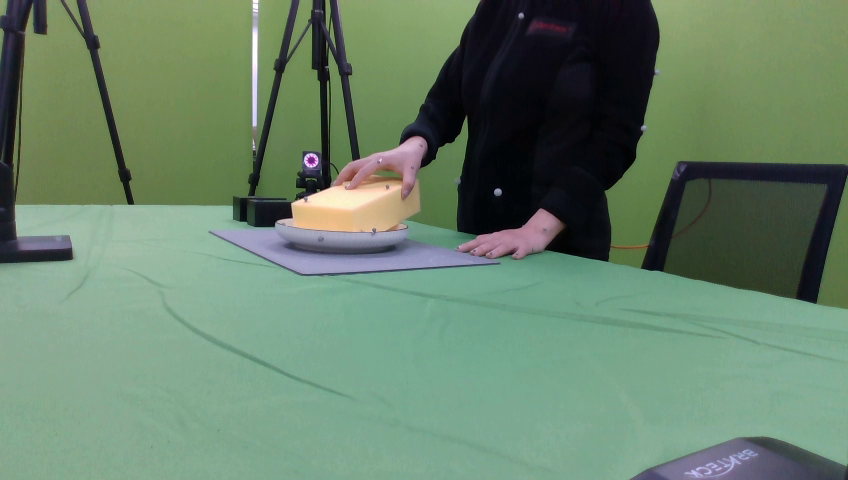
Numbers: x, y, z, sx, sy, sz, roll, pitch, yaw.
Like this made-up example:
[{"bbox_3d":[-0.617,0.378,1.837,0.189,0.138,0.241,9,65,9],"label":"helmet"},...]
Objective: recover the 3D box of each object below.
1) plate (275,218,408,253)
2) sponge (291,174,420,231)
[{"bbox_3d":[-0.129,-0.009,0.954,0.209,0.038,0.209,2,7,0],"label":"plate"},{"bbox_3d":[-0.106,-0.055,1.001,0.118,0.061,0.207,6,21,27],"label":"sponge"}]
